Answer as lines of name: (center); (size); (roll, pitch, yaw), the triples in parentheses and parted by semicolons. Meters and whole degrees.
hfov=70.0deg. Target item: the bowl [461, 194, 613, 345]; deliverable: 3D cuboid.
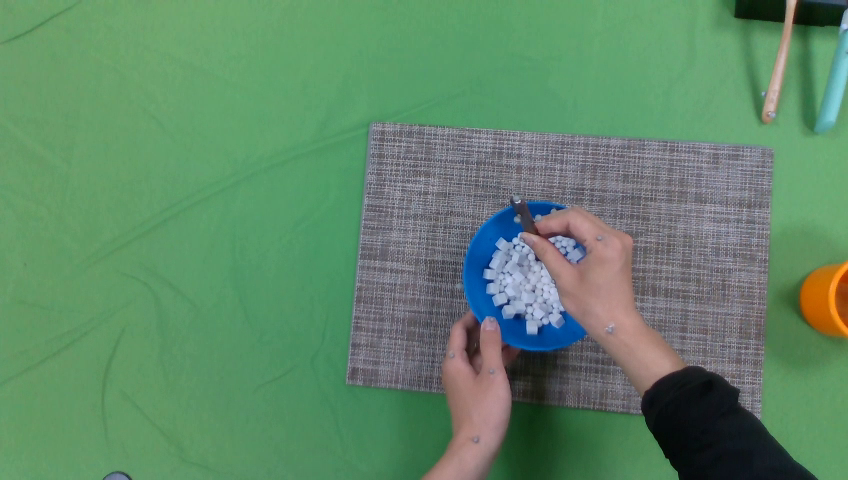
bowl: (0.114, 0.032, 0.637); (0.151, 0.077, 0.151); (0, 86, 4)

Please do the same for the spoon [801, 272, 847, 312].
spoon: (0.474, 0.057, 0.583); (0.022, 0.192, 0.041); (9, 86, -40)

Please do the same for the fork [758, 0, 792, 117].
fork: (0.380, -0.235, 0.641); (0.028, 0.018, 0.208); (2, 106, 1)

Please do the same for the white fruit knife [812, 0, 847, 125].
white fruit knife: (0.441, -0.226, 0.636); (0.016, 0.027, 0.208); (5, 102, 1)

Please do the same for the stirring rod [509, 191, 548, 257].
stirring rod: (0.102, -0.011, 0.576); (0.014, 0.177, 0.006); (18, 79, 23)
